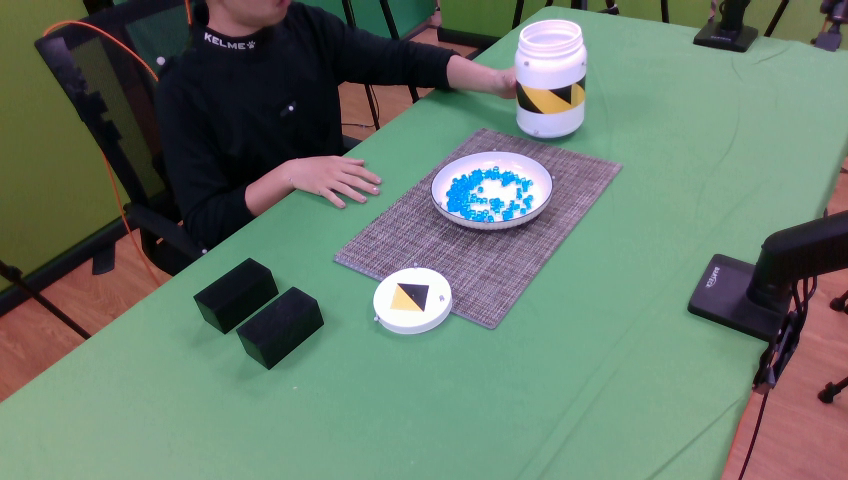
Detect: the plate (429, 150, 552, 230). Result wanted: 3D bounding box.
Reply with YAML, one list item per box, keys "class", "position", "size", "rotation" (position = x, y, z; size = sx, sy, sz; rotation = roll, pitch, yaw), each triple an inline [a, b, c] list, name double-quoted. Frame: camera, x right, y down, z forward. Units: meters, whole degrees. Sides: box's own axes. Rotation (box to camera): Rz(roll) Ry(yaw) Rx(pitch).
- class: "plate"
  position: [0.113, -0.082, 1.032]
  size: [0.207, 0.039, 0.206]
  rotation: [-4, 41, 4]

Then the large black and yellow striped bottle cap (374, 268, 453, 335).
- class: "large black and yellow striped bottle cap"
  position: [-0.015, 0.087, 0.871]
  size: [0.115, 0.019, 0.114]
  rotation: [-6, 43, 6]

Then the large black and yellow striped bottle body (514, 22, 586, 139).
- class: "large black and yellow striped bottle body"
  position: [0.237, -0.300, 1.139]
  size: [0.131, 0.185, 0.130]
  rotation: [-6, 42, 5]
